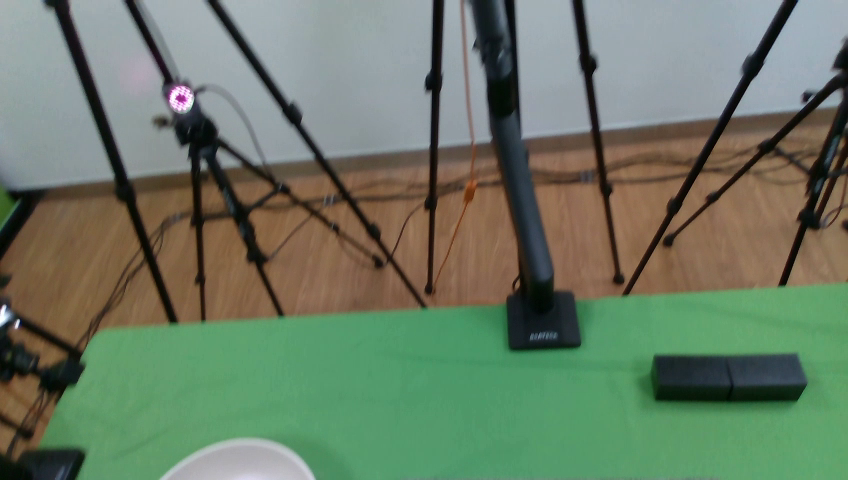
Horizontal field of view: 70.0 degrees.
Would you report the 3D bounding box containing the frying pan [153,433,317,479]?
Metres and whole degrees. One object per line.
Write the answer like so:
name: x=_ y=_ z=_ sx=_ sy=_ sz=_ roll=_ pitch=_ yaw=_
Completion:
frying pan: x=-0.281 y=0.481 z=0.755 sx=0.306 sy=0.104 sz=0.483 roll=-4 pitch=38 yaw=9
